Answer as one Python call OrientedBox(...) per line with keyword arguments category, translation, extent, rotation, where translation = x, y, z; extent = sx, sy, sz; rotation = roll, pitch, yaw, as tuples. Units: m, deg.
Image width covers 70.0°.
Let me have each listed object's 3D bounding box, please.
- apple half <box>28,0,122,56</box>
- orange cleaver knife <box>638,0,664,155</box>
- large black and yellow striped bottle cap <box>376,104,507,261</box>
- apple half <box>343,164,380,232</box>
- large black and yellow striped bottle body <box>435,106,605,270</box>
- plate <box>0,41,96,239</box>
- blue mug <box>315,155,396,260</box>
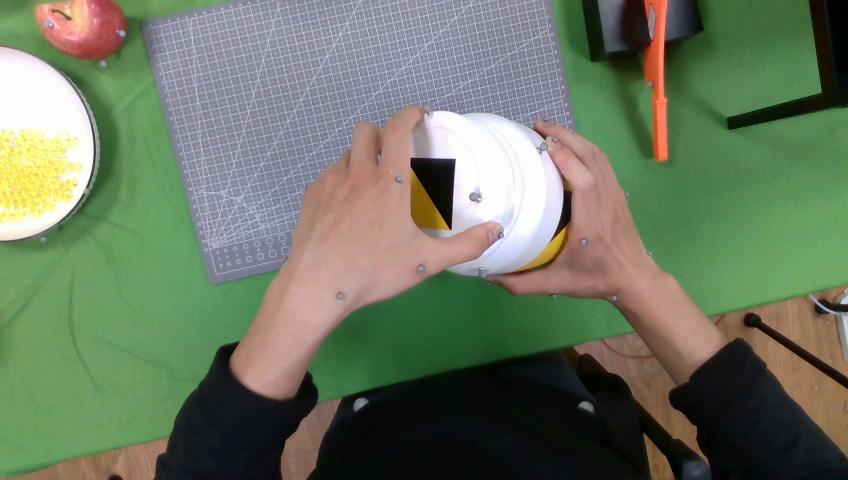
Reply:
OrientedBox(category="apple half", translation=(-0.357, -0.220, 0.631), extent=(0.081, 0.074, 0.053), rotation=(-9, 99, -6))
OrientedBox(category="orange cleaver knife", translation=(0.247, -0.198, 0.661), extent=(0.012, 0.076, 0.213), rotation=(-11, 122, 7))
OrientedBox(category="large black and yellow striped bottle cap", translation=(0.009, -0.041, 0.445), extent=(0.019, 0.114, 0.115), rotation=(1, 88, -47))
OrientedBox(category="apple half", translation=(-0.057, -0.041, 0.640), extent=(0.033, 0.081, 0.081), rotation=(19, 94, 3))
OrientedBox(category="large black and yellow striped bottle body", translation=(0.062, -0.041, 0.517), extent=(0.130, 0.185, 0.130), rotation=(1, 91, 36))
OrientedBox(category="plate", translation=(-0.457, -0.106, 0.653), extent=(0.209, 0.038, 0.209), rotation=(0, 96, -3))
OrientedBox(category="blue mug", translation=(-0.060, -0.031, 0.646), extent=(0.082, 0.105, 0.117), rotation=(-28, 96, 0))
